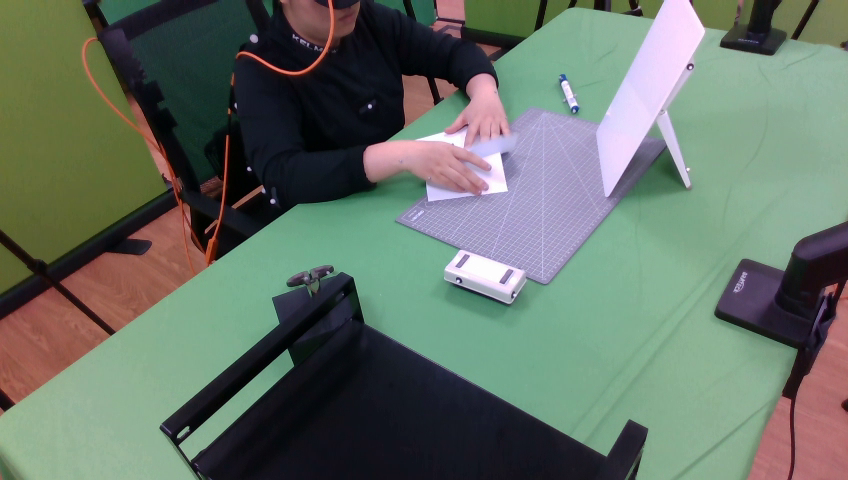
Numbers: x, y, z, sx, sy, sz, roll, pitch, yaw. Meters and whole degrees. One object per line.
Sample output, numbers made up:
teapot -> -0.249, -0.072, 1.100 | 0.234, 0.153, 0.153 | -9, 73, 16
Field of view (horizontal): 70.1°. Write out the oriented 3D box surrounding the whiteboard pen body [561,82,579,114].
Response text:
whiteboard pen body -> 0.310, -0.311, 1.297 | 0.017, 0.017, 0.140 | -6, 41, 2

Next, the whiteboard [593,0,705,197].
whiteboard -> 0.421, -0.227, 1.009 | 0.144, 0.305, 0.216 | 17, 41, -3

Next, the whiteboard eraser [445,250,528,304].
whiteboard eraser -> 0.090, 0.056, 0.882 | 0.112, 0.042, 0.056 | 17, 44, 27

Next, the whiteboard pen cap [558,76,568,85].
whiteboard pen cap -> 0.310, -0.350, 1.340 | 0.018, 0.018, 0.033 | -6, 41, 2

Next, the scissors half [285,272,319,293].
scissors half -> -0.171, 0.064, 0.868 | 0.040, 0.013, 0.174 | -13, 8, -21

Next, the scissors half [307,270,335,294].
scissors half -> -0.152, 0.061, 0.872 | 0.040, 0.013, 0.175 | -5, 6, -4
